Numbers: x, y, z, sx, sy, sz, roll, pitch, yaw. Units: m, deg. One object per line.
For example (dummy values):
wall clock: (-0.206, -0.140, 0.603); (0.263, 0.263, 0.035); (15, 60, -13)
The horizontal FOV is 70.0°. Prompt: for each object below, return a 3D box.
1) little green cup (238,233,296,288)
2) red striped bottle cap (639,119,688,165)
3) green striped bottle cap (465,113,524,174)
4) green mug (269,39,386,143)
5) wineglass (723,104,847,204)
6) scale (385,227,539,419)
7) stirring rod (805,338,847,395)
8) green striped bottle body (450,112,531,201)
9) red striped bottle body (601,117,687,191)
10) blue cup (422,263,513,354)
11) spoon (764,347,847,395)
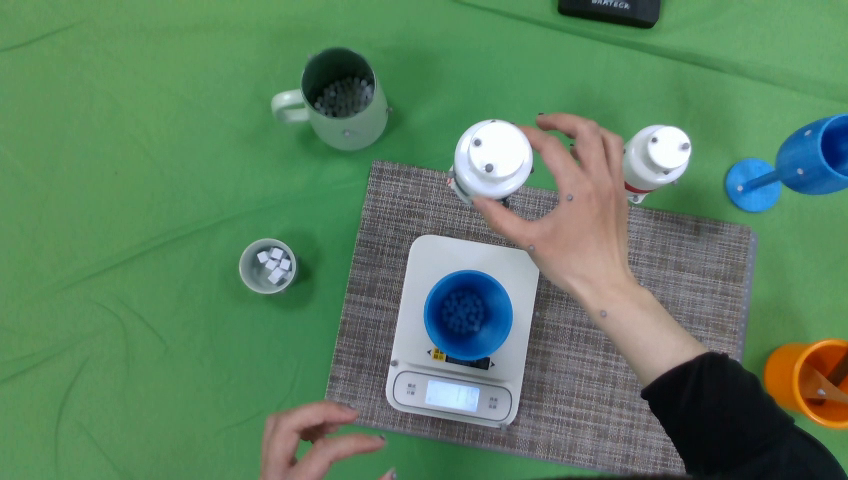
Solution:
little green cup: (-0.172, 0.024, 0.678); (0.061, 0.038, 0.061); (0, 85, -2)
red striped bottle cap: (0.238, -0.097, 0.601); (0.044, 0.018, 0.044); (0, 83, -1)
green striped bottle cap: (0.054, -0.073, 0.459); (0.044, 0.020, 0.044); (0, 86, -1)
green mug: (-0.106, -0.158, 0.663); (0.125, 0.105, 0.092); (-12, 85, -1)
wineglass: (0.384, -0.083, 0.629); (0.074, 0.172, 0.073); (0, 84, 0)
scale: (0.042, 0.092, 0.675); (0.149, 0.031, 0.200); (10, 85, 0)
stirring rod: (0.442, 0.107, 0.625); (0.014, 0.177, 0.006); (17, 44, 14)
green striped bottle body: (0.054, -0.070, 0.515); (0.063, 0.119, 0.063); (0, 88, 1)
red striped bottle body: (0.239, -0.092, 0.654); (0.063, 0.120, 0.063); (0, 85, -1)
blue cup: (0.040, 0.066, 0.612); (0.092, 0.100, 0.092); (0, 87, 0)
spoon: (0.451, 0.162, 0.621); (0.022, 0.192, 0.041); (23, 92, -42)
